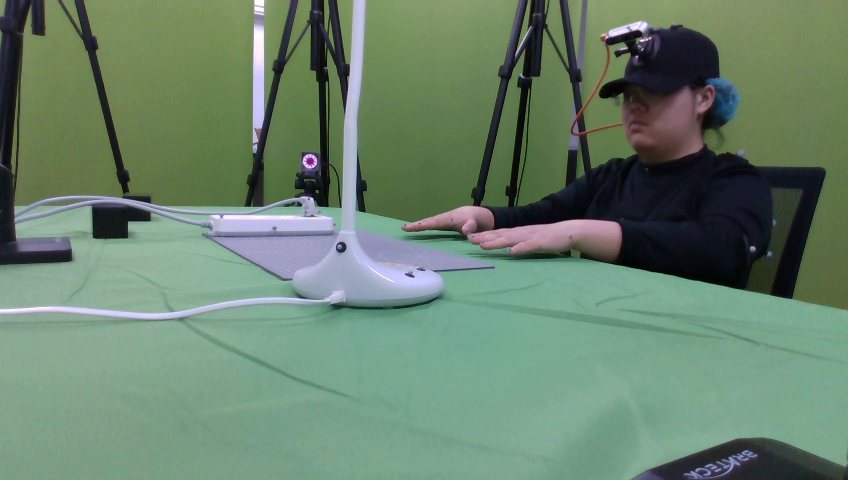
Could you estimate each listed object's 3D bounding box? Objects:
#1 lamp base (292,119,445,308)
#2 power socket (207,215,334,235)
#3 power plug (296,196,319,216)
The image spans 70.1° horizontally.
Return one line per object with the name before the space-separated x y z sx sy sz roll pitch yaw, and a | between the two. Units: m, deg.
lamp base | -0.056 -0.030 0.616 0.160 0.180 0.179 3 10 8
power socket | -0.270 -0.028 1.082 0.228 0.032 0.072 -2 7 -30
power plug | -0.219 -0.057 1.142 0.035 0.052 0.072 0 6 -19
